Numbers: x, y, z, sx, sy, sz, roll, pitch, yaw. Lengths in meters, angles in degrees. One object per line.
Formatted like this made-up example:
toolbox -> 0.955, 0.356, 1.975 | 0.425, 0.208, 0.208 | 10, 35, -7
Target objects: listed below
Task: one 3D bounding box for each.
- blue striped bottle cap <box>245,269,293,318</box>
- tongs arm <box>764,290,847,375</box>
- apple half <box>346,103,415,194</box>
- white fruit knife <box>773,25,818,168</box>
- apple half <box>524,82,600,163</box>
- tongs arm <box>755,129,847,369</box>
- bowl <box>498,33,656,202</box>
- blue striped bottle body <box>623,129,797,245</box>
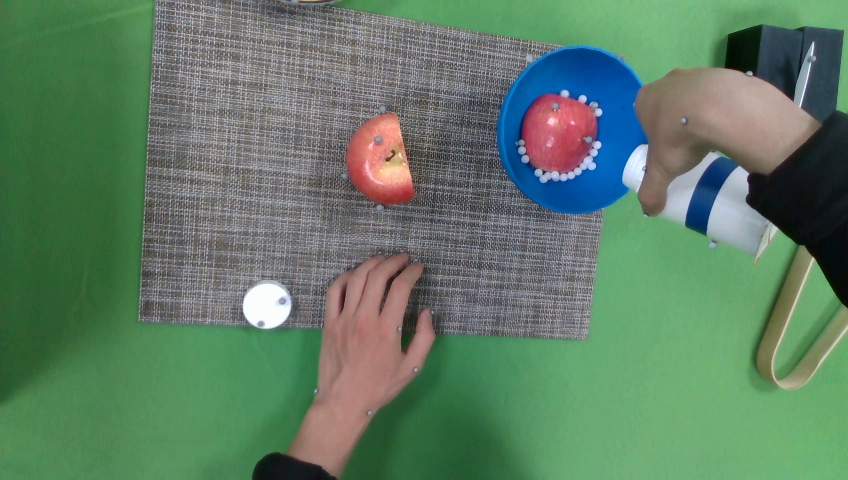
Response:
blue striped bottle cap -> -0.146, 0.051, 0.571 | 0.045, 0.020, 0.044 | -2, 98, -14
tongs arm -> 0.536, 0.005, 0.717 | 0.051, 0.026, 0.384 | 35, 91, -14
apple half -> -0.043, -0.079, 0.546 | 0.053, 0.074, 0.081 | -14, 104, -7
white fruit knife -> 0.384, -0.116, 0.637 | 0.016, 0.027, 0.209 | 2, 115, 5
apple half -> 0.136, -0.111, 0.576 | 0.081, 0.032, 0.081 | -1, 97, -12
tongs arm -> 0.467, -0.035, 0.700 | 0.028, 0.027, 0.387 | 21, 94, -17
bowl -> 0.133, -0.113, 0.580 | 0.152, 0.076, 0.151 | -2, 99, -12
blue striped bottle body -> 0.225, -0.049, 0.490 | 0.063, 0.119, 0.063 | -34, 140, -34
